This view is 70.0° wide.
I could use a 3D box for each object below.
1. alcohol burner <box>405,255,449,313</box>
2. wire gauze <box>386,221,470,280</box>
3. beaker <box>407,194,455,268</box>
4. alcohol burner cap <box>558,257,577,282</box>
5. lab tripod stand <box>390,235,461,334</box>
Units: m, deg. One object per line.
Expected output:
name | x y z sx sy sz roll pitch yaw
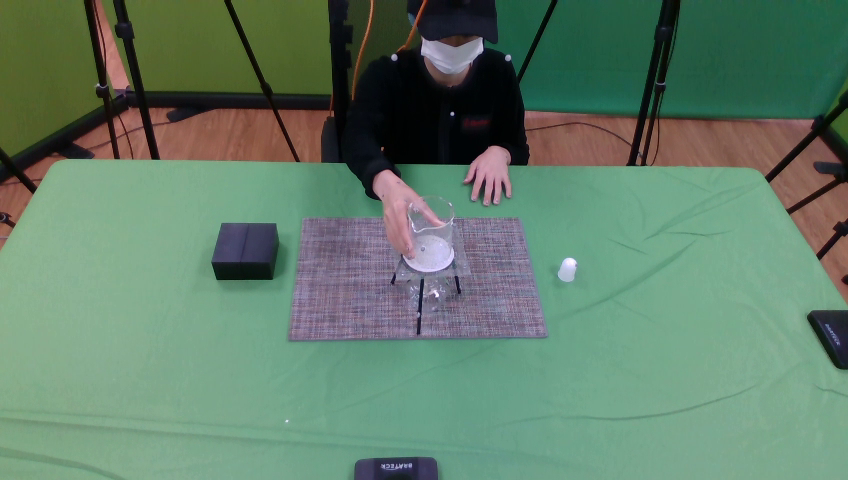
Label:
alcohol burner | 0.006 0.071 1.060 0.078 0.120 0.077 1 45 -1
wire gauze | 0.005 0.018 1.006 0.125 0.011 0.120 -7 45 -5
beaker | 0.008 -0.009 0.965 0.074 0.101 0.084 23 50 20
alcohol burner cap | 0.276 0.053 1.154 0.034 0.048 0.033 2 46 -2
lab tripod stand | -0.002 0.067 1.050 0.148 0.132 0.147 1 47 -1
